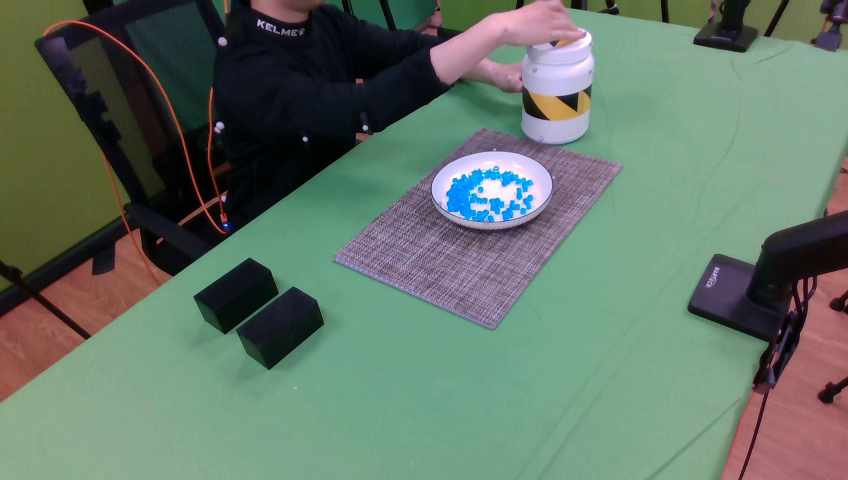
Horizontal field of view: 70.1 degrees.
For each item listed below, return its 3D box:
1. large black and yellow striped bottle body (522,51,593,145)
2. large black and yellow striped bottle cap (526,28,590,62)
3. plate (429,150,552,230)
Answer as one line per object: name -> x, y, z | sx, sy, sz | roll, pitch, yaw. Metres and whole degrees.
large black and yellow striped bottle body -> 0.251, -0.289, 1.147 | 0.131, 0.185, 0.130 | -4, 40, 4
large black and yellow striped bottle cap -> 0.242, -0.354, 1.093 | 0.115, 0.019, 0.114 | -3, 42, 3
plate -> 0.113, -0.082, 1.032 | 0.207, 0.039, 0.206 | -4, 41, 4
